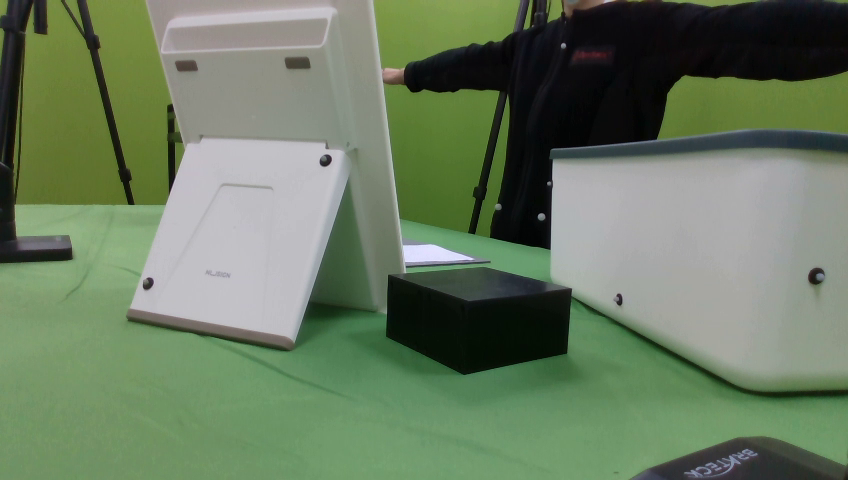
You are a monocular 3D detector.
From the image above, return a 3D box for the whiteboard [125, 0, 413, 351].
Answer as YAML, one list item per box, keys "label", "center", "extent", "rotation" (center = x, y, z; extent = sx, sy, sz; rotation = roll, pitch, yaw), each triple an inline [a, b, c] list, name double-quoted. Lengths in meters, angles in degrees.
- label: "whiteboard"
  center: [-0.151, -0.050, 0.471]
  extent: [0.216, 0.305, 0.144]
  rotation: [6, 27, 24]

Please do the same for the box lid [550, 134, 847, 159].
- label: "box lid"
  center: [0.294, -0.071, 0.538]
  extent: [0.264, 0.015, 0.370]
  rotation: [2, 6, -10]

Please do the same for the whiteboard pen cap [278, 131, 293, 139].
- label: "whiteboard pen cap"
  center: [-0.312, -0.236, 1.357]
  extent: [0.033, 0.018, 0.018]
  rotation: [6, 8, 22]

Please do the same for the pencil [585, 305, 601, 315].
- label: "pencil"
  center: [0.250, 0.055, 0.656]
  extent: [0.195, 0.012, 0.012]
  rotation: [-11, 13, -28]

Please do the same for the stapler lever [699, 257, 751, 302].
- label: "stapler lever"
  center: [0.291, 0.035, 0.579]
  extent: [0.026, 0.040, 0.119]
  rotation: [33, 21, 33]

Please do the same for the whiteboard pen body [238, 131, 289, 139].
- label: "whiteboard pen body"
  center: [-0.366, -0.240, 1.381]
  extent: [0.140, 0.017, 0.017]
  rotation: [6, 8, 24]

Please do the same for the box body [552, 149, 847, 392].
- label: "box body"
  center: [0.290, 0.002, 0.549]
  extent: [0.255, 0.160, 0.363]
  rotation: [2, 7, -10]

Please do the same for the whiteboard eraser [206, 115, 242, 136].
- label: "whiteboard eraser"
  center: [-0.438, -0.249, 1.320]
  extent: [0.056, 0.042, 0.112]
  rotation: [-3, 9, -30]

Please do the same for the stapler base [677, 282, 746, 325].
- label: "stapler base"
  center: [0.283, 0.056, 0.584]
  extent: [0.041, 0.024, 0.131]
  rotation: [33, 19, 33]
